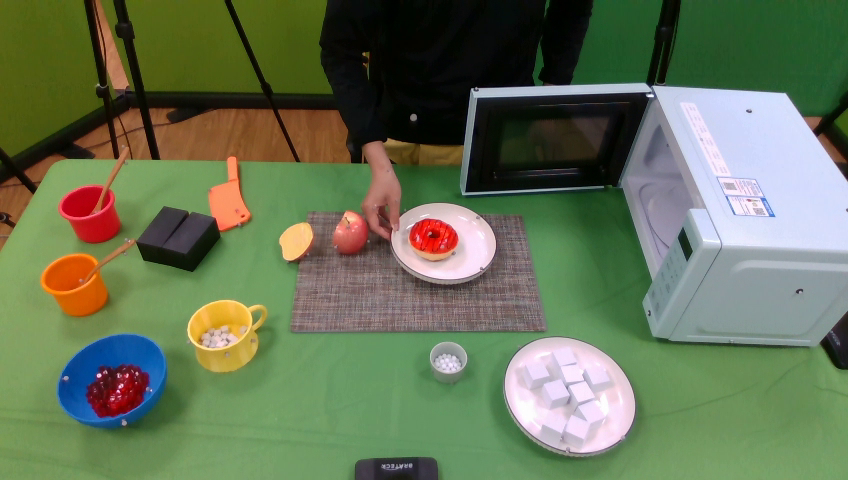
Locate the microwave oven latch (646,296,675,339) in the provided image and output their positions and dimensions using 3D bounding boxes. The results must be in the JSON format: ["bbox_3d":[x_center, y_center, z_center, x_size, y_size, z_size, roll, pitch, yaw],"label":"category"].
[{"bbox_3d":[0.412,0.134,1.061,0.030,0.029,0.078,4,45,0],"label":"microwave oven latch"}]

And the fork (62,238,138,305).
[{"bbox_3d":[-0.547,0.053,1.018,0.207,0.019,0.028,-36,41,23],"label":"fork"}]

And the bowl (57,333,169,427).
[{"bbox_3d":[-0.456,0.223,0.912,0.151,0.077,0.150,3,45,-2],"label":"bowl"}]

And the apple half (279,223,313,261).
[{"bbox_3d":[-0.237,0.007,1.157,0.081,0.033,0.081,-14,58,23],"label":"apple half"}]

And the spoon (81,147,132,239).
[{"bbox_3d":[-0.603,-0.089,1.156,0.041,0.022,0.193,27,94,19],"label":"spoon"}]

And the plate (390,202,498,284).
[{"bbox_3d":[0.037,0.009,1.173,0.209,0.038,0.208,3,46,-3],"label":"plate"}]

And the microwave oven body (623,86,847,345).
[{"bbox_3d":[0.567,-0.053,1.118,0.326,0.261,0.439,2,45,-1],"label":"microwave oven body"}]

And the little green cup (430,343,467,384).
[{"bbox_3d":[0.039,0.203,0.994,0.061,0.039,0.061,2,46,-2],"label":"little green cup"}]

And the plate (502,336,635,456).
[{"bbox_3d":[0.225,0.248,0.964,0.208,0.039,0.206,2,46,-2],"label":"plate"}]

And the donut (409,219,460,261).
[{"bbox_3d":[0.019,-0.002,1.167,0.099,0.048,0.098,3,45,-2],"label":"donut"}]

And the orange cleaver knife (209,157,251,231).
[{"bbox_3d":[-0.409,-0.099,1.266,0.077,0.012,0.210,-14,50,-10],"label":"orange cleaver knife"}]

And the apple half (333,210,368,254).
[{"bbox_3d":[-0.136,-0.010,1.158,0.053,0.075,0.080,17,43,7],"label":"apple half"}]

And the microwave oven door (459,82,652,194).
[{"bbox_3d":[0.259,-0.204,1.236,0.356,0.245,0.039,-4,46,-7],"label":"microwave oven door"}]

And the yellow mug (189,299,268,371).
[{"bbox_3d":[-0.316,0.148,1.002,0.131,0.064,0.099,-32,56,-31],"label":"yellow mug"}]
